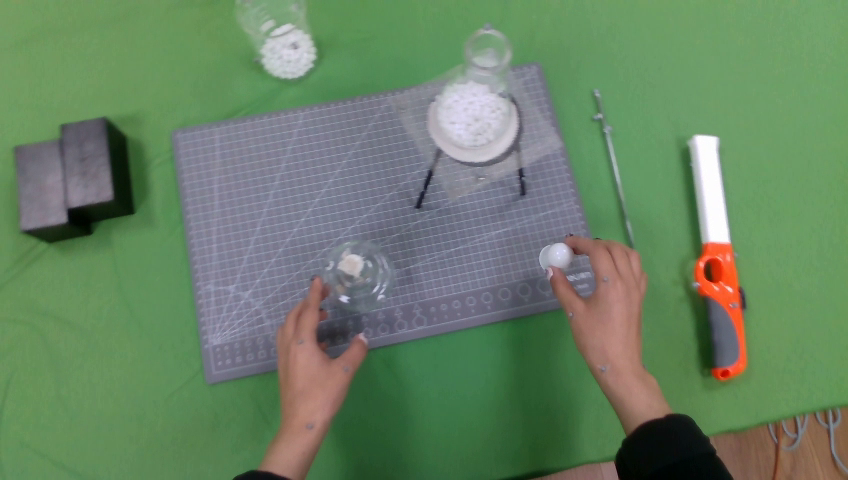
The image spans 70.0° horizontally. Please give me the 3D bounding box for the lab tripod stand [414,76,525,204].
[{"bbox_3d":[0.048,-0.099,0.645,0.148,0.132,0.147,0,78,-1],"label":"lab tripod stand"}]

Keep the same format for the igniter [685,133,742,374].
[{"bbox_3d":[0.325,0.010,0.683,0.057,0.025,0.275,3,77,-11],"label":"igniter"}]

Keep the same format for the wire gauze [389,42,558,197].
[{"bbox_3d":[0.048,-0.116,0.582,0.125,0.011,0.121,-28,82,-9],"label":"wire gauze"}]

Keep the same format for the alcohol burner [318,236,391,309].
[{"bbox_3d":[-0.072,0.030,0.622,0.078,0.119,0.077,1,77,-3],"label":"alcohol burner"}]

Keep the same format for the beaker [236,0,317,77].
[{"bbox_3d":[-0.162,-0.241,0.695,0.074,0.100,0.084,36,78,7],"label":"beaker"}]

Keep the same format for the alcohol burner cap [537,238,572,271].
[{"bbox_3d":[0.138,0.013,0.630,0.034,0.048,0.033,0,81,-2],"label":"alcohol burner cap"}]

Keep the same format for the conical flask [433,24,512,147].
[{"bbox_3d":[0.048,-0.136,0.525,0.075,0.122,0.075,0,78,-2],"label":"conical flask"}]

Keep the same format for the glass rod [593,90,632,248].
[{"bbox_3d":[0.221,-0.087,0.713,0.008,0.008,0.198,-7,77,-3],"label":"glass rod"}]
